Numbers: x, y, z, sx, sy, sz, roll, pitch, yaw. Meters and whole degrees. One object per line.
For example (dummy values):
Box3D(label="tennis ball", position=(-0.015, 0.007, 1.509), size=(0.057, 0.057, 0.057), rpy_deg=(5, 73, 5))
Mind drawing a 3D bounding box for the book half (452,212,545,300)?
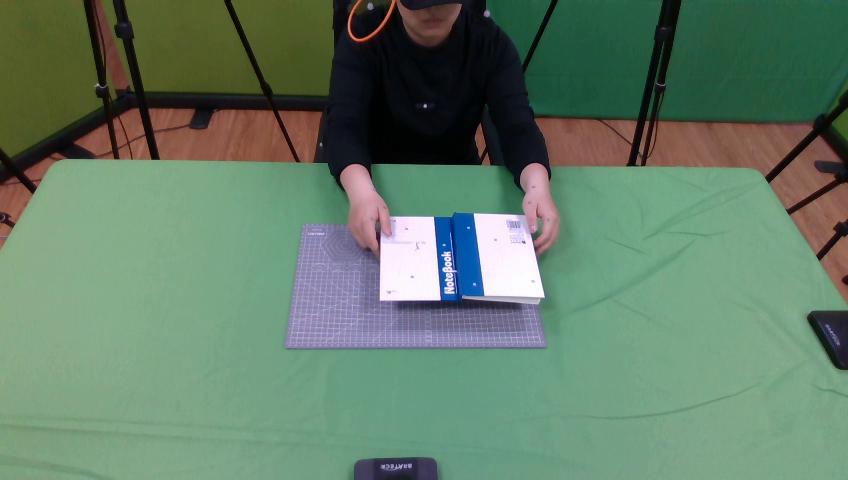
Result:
Box3D(label="book half", position=(0.132, 0.026, 1.116), size=(0.149, 0.016, 0.209), rpy_deg=(1, 45, -5))

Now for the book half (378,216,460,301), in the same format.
Box3D(label="book half", position=(-0.011, 0.029, 1.111), size=(0.143, 0.007, 0.208), rpy_deg=(0, 46, -4))
